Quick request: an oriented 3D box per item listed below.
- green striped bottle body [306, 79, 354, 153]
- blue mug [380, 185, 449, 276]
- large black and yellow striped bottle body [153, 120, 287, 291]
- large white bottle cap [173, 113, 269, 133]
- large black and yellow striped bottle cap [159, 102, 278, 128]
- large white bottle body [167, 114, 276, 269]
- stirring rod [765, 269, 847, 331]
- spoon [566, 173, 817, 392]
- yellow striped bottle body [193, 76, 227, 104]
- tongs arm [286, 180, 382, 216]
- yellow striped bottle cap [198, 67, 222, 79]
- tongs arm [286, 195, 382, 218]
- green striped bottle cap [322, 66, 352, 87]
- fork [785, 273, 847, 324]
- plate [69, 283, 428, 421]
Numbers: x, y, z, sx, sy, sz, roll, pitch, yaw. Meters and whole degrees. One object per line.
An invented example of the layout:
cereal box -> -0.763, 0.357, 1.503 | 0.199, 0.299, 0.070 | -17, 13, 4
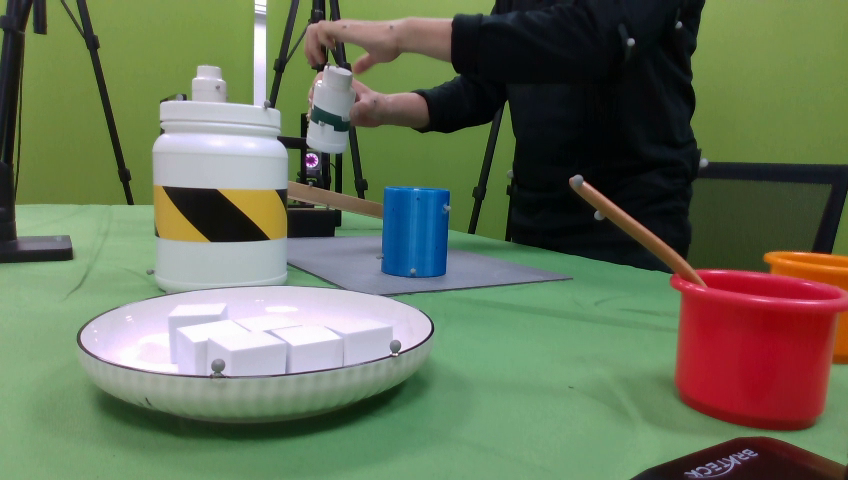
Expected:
green striped bottle body -> -0.144, -0.200, 0.934 | 0.063, 0.119, 0.063 | 11, 24, -5
blue mug -> -0.018, -0.016, 0.764 | 0.083, 0.106, 0.116 | -1, 8, -25
large black and yellow striped bottle body -> -0.208, -0.042, 0.626 | 0.131, 0.184, 0.130 | 2, 7, 0
large white bottle cap -> -0.254, -0.146, 0.760 | 0.115, 0.018, 0.115 | 1, 7, 0
large black and yellow striped bottle cap -> -0.207, -0.125, 0.615 | 0.115, 0.019, 0.115 | 2, 6, 0
large white bottle body -> -0.256, -0.063, 0.771 | 0.131, 0.184, 0.130 | 1, 7, 0
stirring rod -> 0.352, 0.020, 0.484 | 0.176, 0.006, 0.014 | -40, -6, 13
spoon -> 0.161, 0.024, 0.370 | 0.193, 0.021, 0.042 | 47, 18, 3
yellow striped bottle body -> -0.414, -0.268, 1.169 | 0.063, 0.120, 0.063 | 2, 7, 0
tongs arm -> -0.122, -0.066, 1.147 | 0.387, 0.026, 0.050 | 11, -2, -37
yellow striped bottle cap -> -0.411, -0.320, 1.163 | 0.044, 0.018, 0.044 | 0, 5, 0
tongs arm -> -0.165, -0.074, 1.216 | 0.389, 0.027, 0.028 | 11, -6, -24
green striped bottle cap -> -0.131, -0.246, 0.913 | 0.044, 0.020, 0.044 | 13, 27, -6
fork -> 0.332, 0.018, 0.444 | 0.028, 0.018, 0.207 | -1, -35, -15
plate -> -0.102, 0.066, 0.381 | 0.208, 0.039, 0.207 | 2, 7, 0
